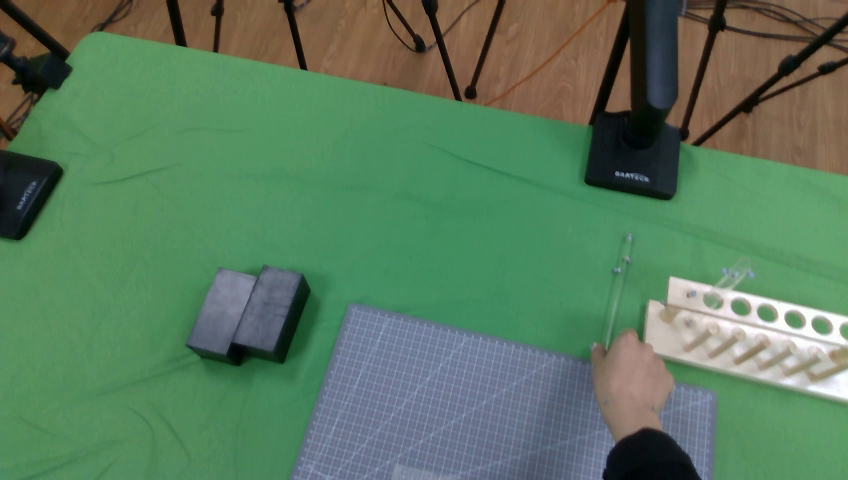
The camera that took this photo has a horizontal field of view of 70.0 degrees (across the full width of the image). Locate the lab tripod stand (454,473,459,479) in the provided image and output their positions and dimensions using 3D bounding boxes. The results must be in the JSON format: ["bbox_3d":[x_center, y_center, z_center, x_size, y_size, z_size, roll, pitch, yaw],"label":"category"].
[{"bbox_3d":[0.021,0.293,0.580,0.148,0.132,0.147,-1,63,2],"label":"lab tripod stand"}]

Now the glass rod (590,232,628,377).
[{"bbox_3d":[0.232,0.076,0.754,0.008,0.008,0.198,17,67,9],"label":"glass rod"}]

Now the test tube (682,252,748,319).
[{"bbox_3d":[0.316,0.054,0.667,0.017,0.151,0.017,0,61,1],"label":"test tube"}]

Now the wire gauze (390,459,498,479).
[{"bbox_3d":[0.021,0.262,0.522,0.125,0.011,0.120,9,62,7],"label":"wire gauze"}]

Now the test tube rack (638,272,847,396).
[{"bbox_3d":[0.383,0.109,0.695,0.242,0.086,0.066,13,65,7],"label":"test tube rack"}]
